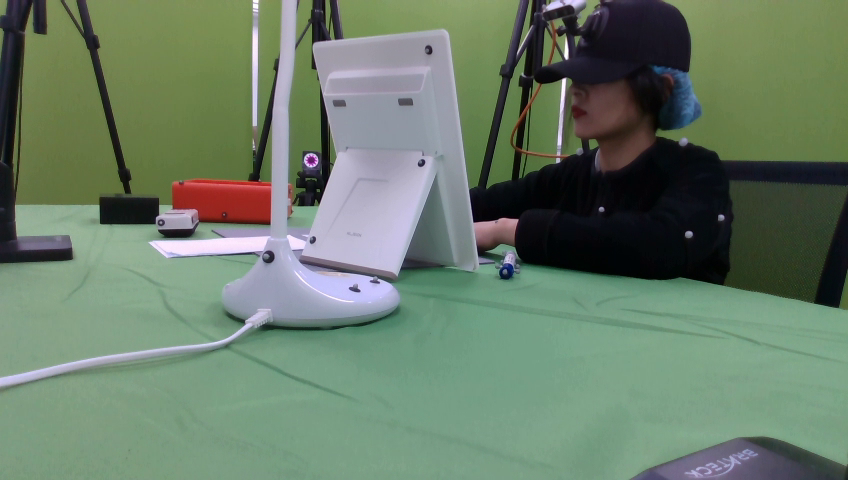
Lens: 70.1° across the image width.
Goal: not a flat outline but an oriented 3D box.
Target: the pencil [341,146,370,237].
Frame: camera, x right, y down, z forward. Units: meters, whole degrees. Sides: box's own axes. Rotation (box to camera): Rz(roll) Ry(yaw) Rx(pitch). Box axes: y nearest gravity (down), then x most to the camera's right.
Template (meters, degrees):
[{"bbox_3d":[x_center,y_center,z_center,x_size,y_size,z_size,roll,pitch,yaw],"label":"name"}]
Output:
[{"bbox_3d":[-0.117,-0.085,1.025,0.012,0.194,0.012,8,-32,6],"label":"pencil"}]

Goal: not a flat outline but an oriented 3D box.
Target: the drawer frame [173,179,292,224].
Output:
[{"bbox_3d":[-0.400,-0.086,1.300,0.214,0.082,0.201,1,8,-8],"label":"drawer frame"}]

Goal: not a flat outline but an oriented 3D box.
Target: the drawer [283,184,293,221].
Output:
[{"bbox_3d":[-0.396,-0.085,1.301,0.212,0.073,0.194,1,8,-7],"label":"drawer"}]

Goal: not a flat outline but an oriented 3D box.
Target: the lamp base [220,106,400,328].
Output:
[{"bbox_3d":[-0.101,-0.023,0.531,0.160,0.180,0.179,4,10,10],"label":"lamp base"}]

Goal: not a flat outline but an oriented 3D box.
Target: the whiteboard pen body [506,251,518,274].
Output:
[{"bbox_3d":[0.117,0.032,0.814,0.017,0.017,0.141,4,8,9],"label":"whiteboard pen body"}]

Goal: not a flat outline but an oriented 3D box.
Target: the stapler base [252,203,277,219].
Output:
[{"bbox_3d":[-0.341,-0.065,1.301,0.041,0.024,0.130,15,5,-10],"label":"stapler base"}]

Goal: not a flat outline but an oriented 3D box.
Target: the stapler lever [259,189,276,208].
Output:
[{"bbox_3d":[-0.335,-0.090,1.300,0.027,0.040,0.118,15,4,-10],"label":"stapler lever"}]

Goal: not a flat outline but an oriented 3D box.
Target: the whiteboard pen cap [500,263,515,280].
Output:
[{"bbox_3d":[0.105,0.038,0.758,0.018,0.018,0.033,4,10,10],"label":"whiteboard pen cap"}]

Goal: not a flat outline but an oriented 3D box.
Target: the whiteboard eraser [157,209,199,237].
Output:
[{"bbox_3d":[-0.411,-0.029,1.016,0.056,0.042,0.112,2,7,-16],"label":"whiteboard eraser"}]

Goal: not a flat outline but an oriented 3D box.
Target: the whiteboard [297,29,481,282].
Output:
[{"bbox_3d":[-0.076,-0.082,0.742,0.216,0.305,0.144,9,29,37],"label":"whiteboard"}]
